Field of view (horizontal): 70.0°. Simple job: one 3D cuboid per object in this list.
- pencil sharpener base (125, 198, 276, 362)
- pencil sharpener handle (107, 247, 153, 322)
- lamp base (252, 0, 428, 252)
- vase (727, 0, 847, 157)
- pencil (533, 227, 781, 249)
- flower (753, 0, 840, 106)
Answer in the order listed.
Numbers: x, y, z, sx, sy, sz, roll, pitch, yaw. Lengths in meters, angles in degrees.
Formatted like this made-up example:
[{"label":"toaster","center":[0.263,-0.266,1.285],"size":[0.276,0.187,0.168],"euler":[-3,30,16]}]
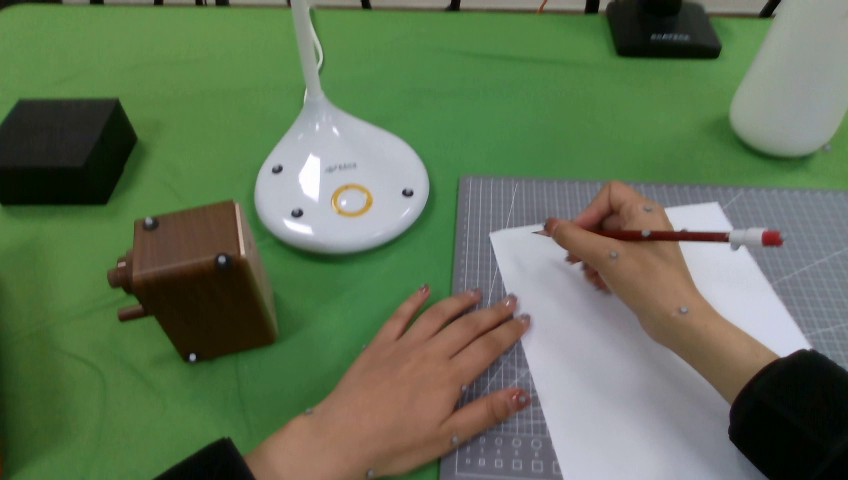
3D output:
[{"label":"pencil sharpener base","center":[-0.157,0.032,0.436],"size":[0.077,0.108,0.060],"euler":[-13,51,-9]},{"label":"pencil sharpener handle","center":[-0.207,0.035,0.418],"size":[0.031,0.068,0.035],"euler":[-13,54,-9]},{"label":"lamp base","center":[-0.084,-0.110,0.509],"size":[0.161,0.182,0.177],"euler":[-21,50,-17]},{"label":"vase","center":[0.349,-0.173,0.544],"size":[0.098,0.202,0.097],"euler":[-1,48,2]},{"label":"pencil","center":[0.147,-0.004,0.425],"size":[0.012,0.012,0.193],"euler":[-40,24,-28]},{"label":"flower","center":[0.340,-0.211,0.468],"size":[0.038,0.364,0.044],"euler":[-40,72,-13]}]
